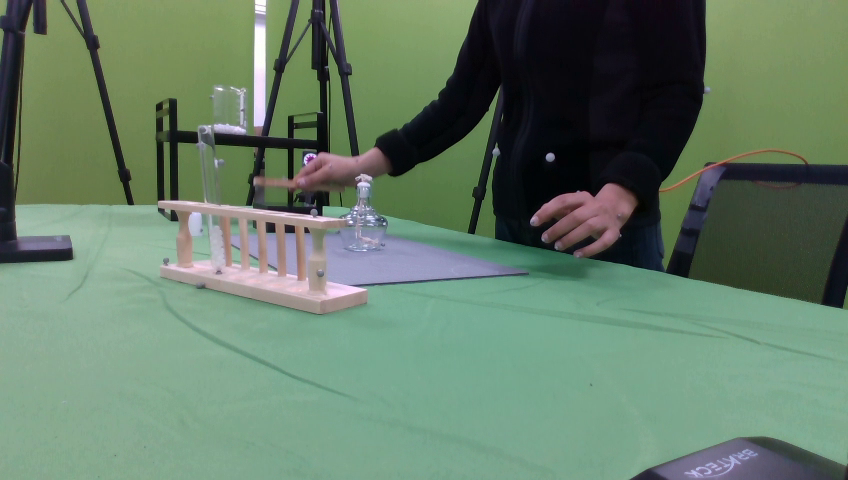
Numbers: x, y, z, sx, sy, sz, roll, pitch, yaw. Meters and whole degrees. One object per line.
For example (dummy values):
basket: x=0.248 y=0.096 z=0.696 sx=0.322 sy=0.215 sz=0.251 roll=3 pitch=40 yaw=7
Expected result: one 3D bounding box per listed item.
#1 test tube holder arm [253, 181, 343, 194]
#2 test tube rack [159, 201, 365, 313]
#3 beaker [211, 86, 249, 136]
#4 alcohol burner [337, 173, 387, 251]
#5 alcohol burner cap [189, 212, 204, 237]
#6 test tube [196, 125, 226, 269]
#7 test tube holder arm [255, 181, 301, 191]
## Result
test tube holder arm: x=-0.238 y=-0.101 z=1.159 sx=0.179 sy=0.015 sz=0.013 roll=1 pitch=5 yaw=-36
test tube rack: x=-0.173 y=0.009 z=0.624 sx=0.241 sy=0.085 sz=0.067 roll=7 pitch=9 yaw=34
beaker: x=-0.413 y=-0.274 z=1.297 sx=0.074 sy=0.100 sz=0.083 roll=-5 pitch=11 yaw=-44
alcohol burner: x=-0.095 y=-0.043 z=0.926 sx=0.078 sy=0.119 sz=0.078 roll=3 pitch=6 yaw=0
alcohol burner cap: x=-0.389 y=-0.029 z=1.026 sx=0.034 sy=0.048 sz=0.034 roll=3 pitch=9 yaw=0
test tube: x=-0.221 y=-0.043 z=0.629 sx=0.017 sy=0.150 sz=0.017 roll=-3 pitch=8 yaw=1
test tube holder arm: x=-0.272 y=-0.101 z=1.128 sx=0.088 sy=0.015 sz=0.010 roll=1 pitch=5 yaw=-35
